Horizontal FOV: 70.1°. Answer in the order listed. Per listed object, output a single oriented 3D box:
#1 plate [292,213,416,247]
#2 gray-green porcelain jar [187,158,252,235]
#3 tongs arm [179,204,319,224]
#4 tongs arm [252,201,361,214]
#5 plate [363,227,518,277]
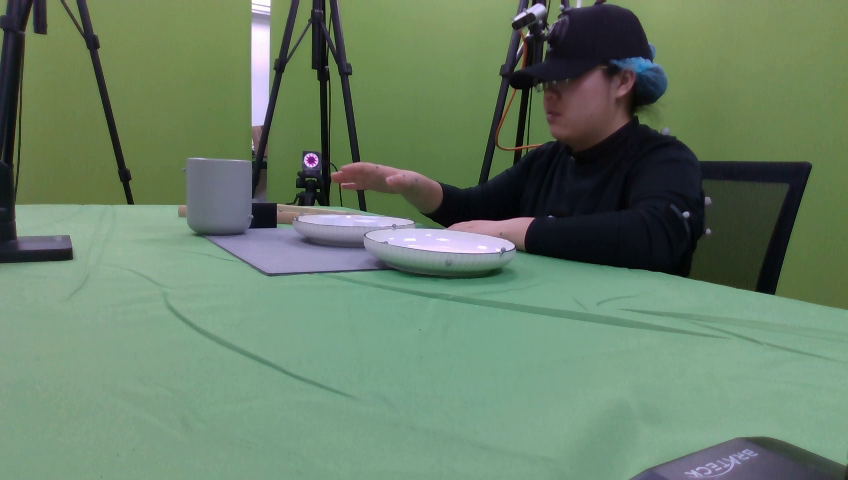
[{"bbox_3d":[-0.118,-0.017,1.024,0.208,0.039,0.207,2,8,0],"label":"plate"},{"bbox_3d":[-0.350,-0.075,1.036,0.106,0.126,0.106,3,8,0],"label":"gray-green porcelain jar"},{"bbox_3d":[-0.329,-0.051,1.270,0.387,0.028,0.028,4,5,6],"label":"tongs arm"},{"bbox_3d":[-0.307,-0.064,1.349,0.384,0.026,0.051,7,9,19],"label":"tongs arm"},{"bbox_3d":[0.022,0.016,0.817,0.209,0.038,0.209,3,9,0],"label":"plate"}]
